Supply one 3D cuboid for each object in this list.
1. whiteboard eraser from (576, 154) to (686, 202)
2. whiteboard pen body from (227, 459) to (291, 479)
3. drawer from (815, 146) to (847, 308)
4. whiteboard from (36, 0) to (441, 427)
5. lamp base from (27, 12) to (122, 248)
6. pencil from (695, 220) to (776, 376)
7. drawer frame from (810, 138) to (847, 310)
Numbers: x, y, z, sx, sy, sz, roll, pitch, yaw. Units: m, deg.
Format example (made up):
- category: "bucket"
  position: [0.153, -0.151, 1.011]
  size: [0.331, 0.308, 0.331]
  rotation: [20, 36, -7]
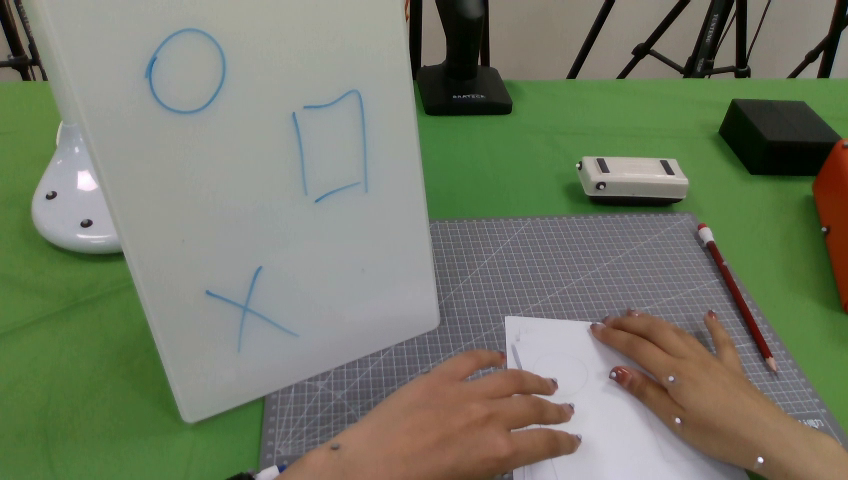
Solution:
- category: "whiteboard eraser"
  position: [0.233, -0.070, 0.688]
  size: [0.113, 0.042, 0.055]
  rotation: [2, 43, -3]
- category: "whiteboard pen body"
  position: [-0.156, 0.174, 0.389]
  size: [0.141, 0.017, 0.017]
  rotation: [-15, 45, -23]
- category: "drawer"
  position: [0.522, 0.002, 0.607]
  size: [0.194, 0.074, 0.210]
  rotation: [14, 42, 11]
- category: "whiteboard"
  position: [-0.126, -0.053, 0.477]
  size: [0.218, 0.307, 0.142]
  rotation: [-18, 27, -22]
- category: "lamp base"
  position: [-0.315, -0.110, 0.571]
  size: [0.178, 0.182, 0.160]
  rotation: [25, 46, 25]
- category: "pencil"
  position: [0.297, 0.048, 0.583]
  size: [0.012, 0.012, 0.192]
  rotation: [2, 45, -3]
- category: "drawer frame"
  position: [0.522, -0.001, 0.609]
  size: [0.201, 0.083, 0.212]
  rotation: [14, 42, 10]
